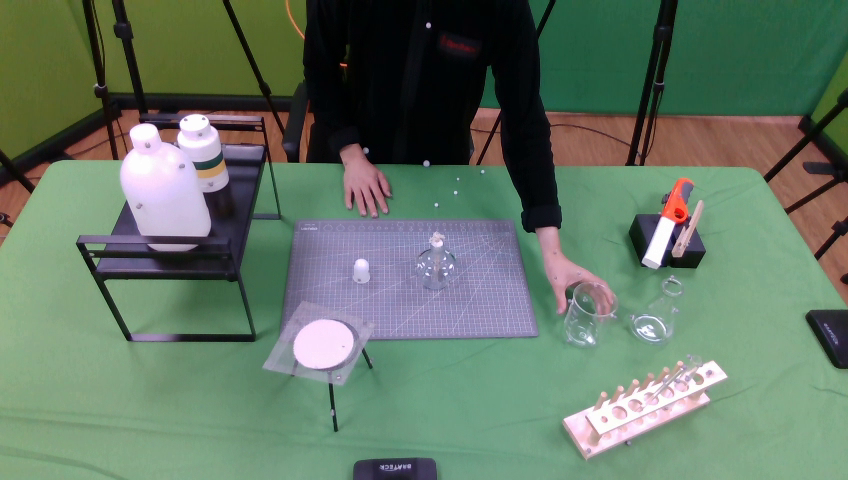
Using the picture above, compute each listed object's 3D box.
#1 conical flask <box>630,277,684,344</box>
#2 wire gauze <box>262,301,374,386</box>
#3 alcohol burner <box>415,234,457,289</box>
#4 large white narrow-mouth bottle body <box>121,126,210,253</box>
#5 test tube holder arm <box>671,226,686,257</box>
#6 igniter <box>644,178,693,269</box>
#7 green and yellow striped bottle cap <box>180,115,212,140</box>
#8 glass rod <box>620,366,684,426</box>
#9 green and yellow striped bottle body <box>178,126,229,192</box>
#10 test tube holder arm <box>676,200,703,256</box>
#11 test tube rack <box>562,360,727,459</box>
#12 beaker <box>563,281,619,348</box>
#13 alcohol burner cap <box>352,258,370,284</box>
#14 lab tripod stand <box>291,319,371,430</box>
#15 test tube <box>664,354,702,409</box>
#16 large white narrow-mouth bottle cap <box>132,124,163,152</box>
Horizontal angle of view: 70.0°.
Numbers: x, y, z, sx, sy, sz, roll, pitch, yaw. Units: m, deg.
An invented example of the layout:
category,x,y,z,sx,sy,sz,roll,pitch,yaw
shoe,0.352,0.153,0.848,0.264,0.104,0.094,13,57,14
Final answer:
category,x,y,z,sx,sy,sz,roll,pitch,yaw
conical flask,0.408,0.117,1.045,0.075,0.122,0.075,2,46,-2
wire gauze,-0.150,0.148,0.873,0.121,0.011,0.124,14,46,12
alcohol burner,0.022,0.033,1.099,0.078,0.120,0.077,1,47,0
large white narrow-mouth bottle body,-0.378,-0.077,0.875,0.102,0.195,0.101,3,46,-3
test tube holder arm,0.494,0.001,1.167,0.010,0.015,0.087,0,36,42
igniter,0.488,-0.042,1.204,0.057,0.025,0.276,29,51,11
green and yellow striped bottle cap,-0.358,-0.177,0.951,0.045,0.020,0.045,1,45,-1
glass rod,0.322,0.227,0.866,0.008,0.200,0.008,6,51,-7
green and yellow striped bottle body,-0.361,-0.142,0.989,0.063,0.120,0.063,2,46,-2
test tube holder arm,0.522,-0.025,1.190,0.013,0.015,0.178,0,35,42
test tube rack,0.341,0.247,0.940,0.243,0.085,0.066,-16,49,-18
beaker,0.283,0.129,1.041,0.074,0.101,0.083,11,46,6
alcohol burner cap,-0.117,0.055,1.118,0.034,0.048,0.033,2,46,-1
lab tripod stand,-0.146,0.194,0.923,0.148,0.132,0.147,1,47,-1
test tube,0.385,0.215,0.906,0.017,0.151,0.017,-1,49,1
large white narrow-mouth bottle cap,-0.371,-0.137,0.813,0.038,0.024,0.037,3,46,-3
